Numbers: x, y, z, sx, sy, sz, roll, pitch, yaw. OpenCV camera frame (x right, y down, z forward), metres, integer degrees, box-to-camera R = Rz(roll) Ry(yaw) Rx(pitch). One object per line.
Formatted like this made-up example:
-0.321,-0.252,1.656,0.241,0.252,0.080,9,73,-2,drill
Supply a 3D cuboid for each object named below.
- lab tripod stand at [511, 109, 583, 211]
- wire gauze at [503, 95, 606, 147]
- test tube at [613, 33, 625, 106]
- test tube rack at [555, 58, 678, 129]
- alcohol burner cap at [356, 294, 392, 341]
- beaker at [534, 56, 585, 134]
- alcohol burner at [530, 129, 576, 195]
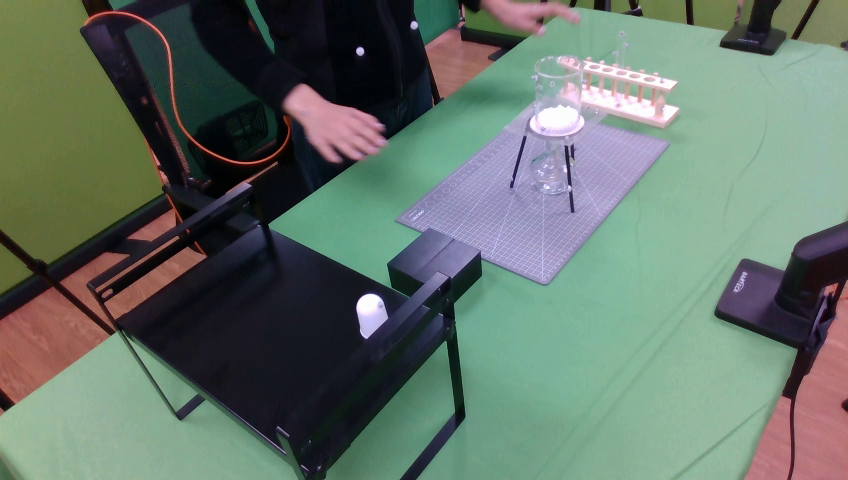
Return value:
0.220,-0.138,1.014,0.148,0.132,0.147,-3,41,3,lab tripod stand
0.212,-0.191,0.976,0.120,0.011,0.125,24,52,32,wire gauze
0.380,-0.330,1.180,0.017,0.151,0.017,-7,41,6,test tube
0.390,-0.307,1.229,0.240,0.085,0.067,25,50,33,test tube rack
-0.051,0.074,0.601,0.034,0.048,0.033,-4,42,4,alcohol burner cap
0.209,-0.226,0.942,0.074,0.101,0.083,-2,41,7,beaker
0.220,-0.137,1.029,0.078,0.119,0.077,-5,42,5,alcohol burner
